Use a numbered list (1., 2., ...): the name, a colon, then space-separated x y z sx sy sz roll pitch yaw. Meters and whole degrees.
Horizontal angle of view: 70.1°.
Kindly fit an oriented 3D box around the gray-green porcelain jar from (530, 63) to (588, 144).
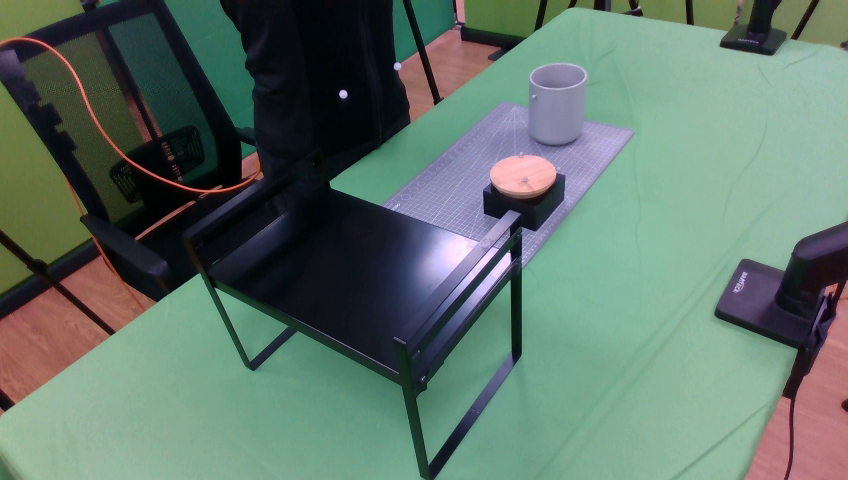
1. gray-green porcelain jar: 0.254 -0.255 1.151 0.106 0.127 0.105 -4 41 4

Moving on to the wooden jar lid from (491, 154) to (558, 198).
1. wooden jar lid: 0.164 -0.104 0.994 0.108 0.021 0.108 -4 40 4
